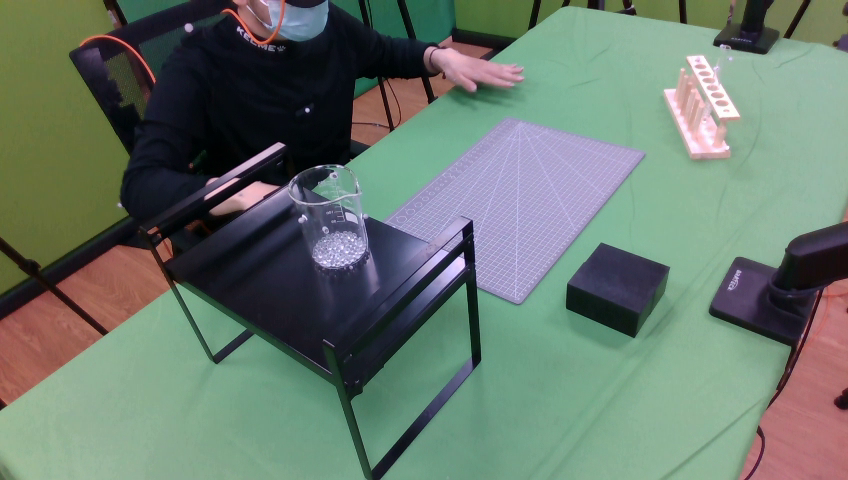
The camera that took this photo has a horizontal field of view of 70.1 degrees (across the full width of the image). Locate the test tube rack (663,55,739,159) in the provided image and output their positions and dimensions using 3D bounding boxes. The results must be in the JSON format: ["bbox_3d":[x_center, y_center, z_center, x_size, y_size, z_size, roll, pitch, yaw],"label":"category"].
[{"bbox_3d":[0.518,-0.256,1.144,0.066,0.085,0.241,-1,41,8],"label":"test tube rack"}]

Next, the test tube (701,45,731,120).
[{"bbox_3d":[0.527,-0.281,1.095,0.017,0.151,0.017,-3,46,3],"label":"test tube"}]

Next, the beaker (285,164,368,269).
[{"bbox_3d":[-0.102,-0.024,0.676,0.083,0.101,0.074,8,43,17],"label":"beaker"}]
